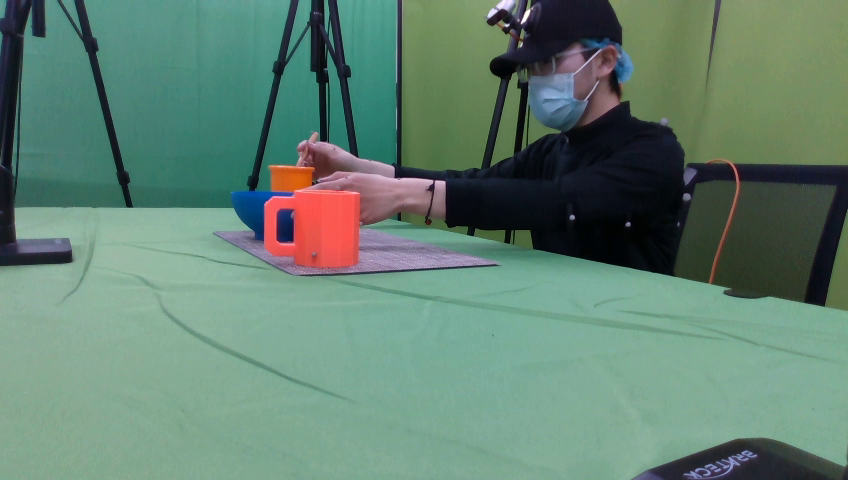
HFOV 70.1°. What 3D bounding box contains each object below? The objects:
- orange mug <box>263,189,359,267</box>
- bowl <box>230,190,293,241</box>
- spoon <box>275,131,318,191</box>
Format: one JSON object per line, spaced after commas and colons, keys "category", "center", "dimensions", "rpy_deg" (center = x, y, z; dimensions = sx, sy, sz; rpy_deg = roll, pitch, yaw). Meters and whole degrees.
{"category": "orange mug", "center": [-0.147, -0.019, 0.795], "dimensions": [0.127, 0.100, 0.083], "rpy_deg": [5, 6, -19]}
{"category": "bowl", "center": [-0.249, -0.042, 1.023], "dimensions": [0.151, 0.077, 0.151], "rpy_deg": [2, 7, 0]}
{"category": "spoon", "center": [-0.256, -0.156, 1.241], "dimensions": [0.041, 0.193, 0.021], "rpy_deg": [13, -31, 11]}
